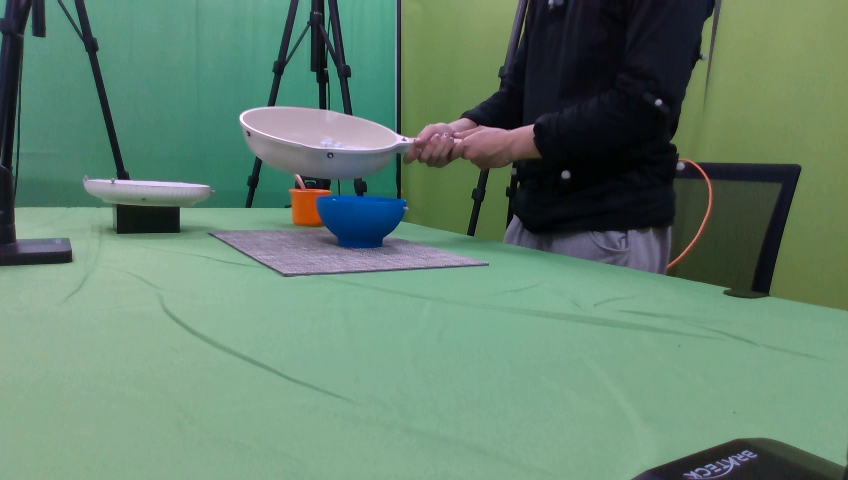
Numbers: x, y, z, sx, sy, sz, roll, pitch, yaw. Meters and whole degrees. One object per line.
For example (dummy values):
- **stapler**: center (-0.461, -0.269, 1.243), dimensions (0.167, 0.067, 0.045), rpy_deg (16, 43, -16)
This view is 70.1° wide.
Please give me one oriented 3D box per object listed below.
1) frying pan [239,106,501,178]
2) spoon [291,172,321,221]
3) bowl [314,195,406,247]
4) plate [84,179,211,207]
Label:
- **frying pan**: center (-0.093, -0.188, 1.148), dimensions (0.489, 0.103, 0.306), rpy_deg (0, 25, -4)
- **spoon**: center (-0.269, -0.113, 1.336), dimensions (0.042, 0.193, 0.021), rpy_deg (-3, -35, -43)
- **bowl**: center (-0.105, -0.032, 0.991), dimensions (0.151, 0.077, 0.151), rpy_deg (2, 7, 0)
- **plate**: center (-0.495, -0.085, 1.093), dimensions (0.208, 0.039, 0.207), rpy_deg (4, 7, 0)
